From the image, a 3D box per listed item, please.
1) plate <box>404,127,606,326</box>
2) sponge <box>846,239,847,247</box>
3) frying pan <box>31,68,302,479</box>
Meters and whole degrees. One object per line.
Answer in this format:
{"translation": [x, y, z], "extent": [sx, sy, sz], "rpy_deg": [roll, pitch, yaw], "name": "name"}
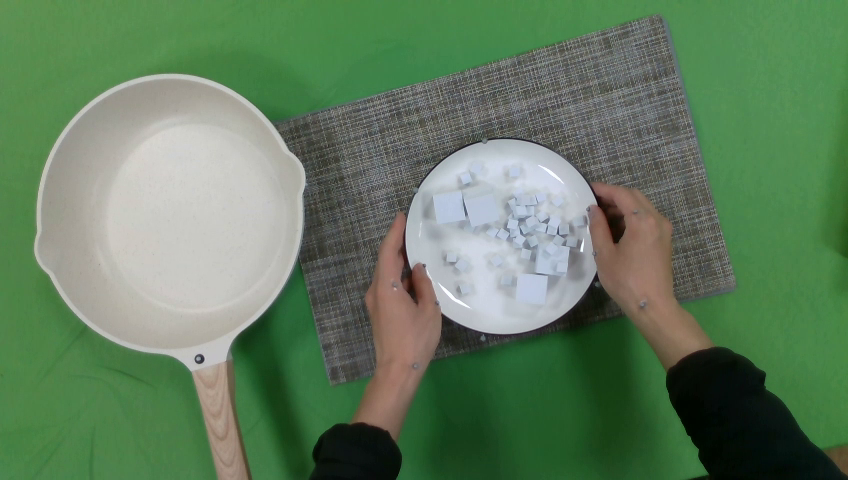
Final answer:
{"translation": [0.084, -0.014, 0.643], "extent": [0.207, 0.039, 0.207], "rpy_deg": [0, 90, 5], "name": "plate"}
{"translation": [0.511, -0.083, 0.596], "extent": [0.118, 0.061, 0.206], "rpy_deg": [9, 91, 6], "name": "sponge"}
{"translation": [-0.240, 0.065, 0.642], "extent": [0.307, 0.103, 0.485], "rpy_deg": [-16, 81, 7], "name": "frying pan"}
